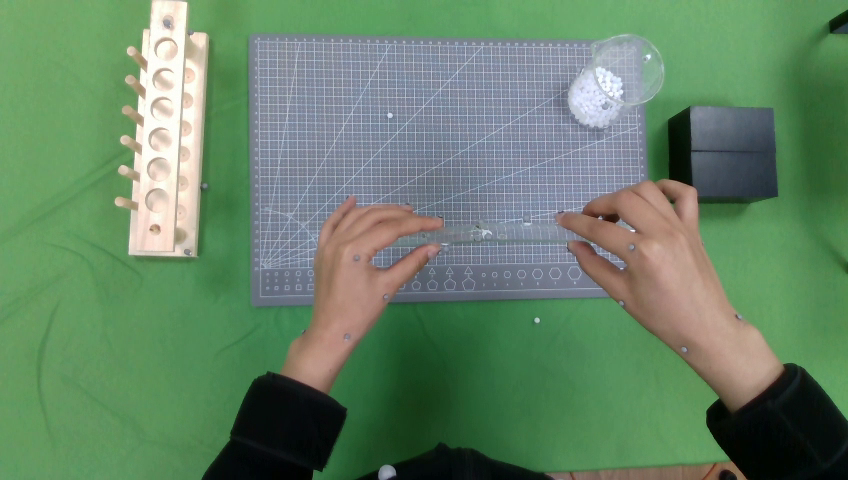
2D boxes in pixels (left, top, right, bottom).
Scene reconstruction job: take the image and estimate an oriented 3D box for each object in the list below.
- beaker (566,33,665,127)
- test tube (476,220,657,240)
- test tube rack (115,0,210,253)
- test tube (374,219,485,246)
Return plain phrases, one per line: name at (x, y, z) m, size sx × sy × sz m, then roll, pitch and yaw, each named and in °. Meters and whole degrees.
beaker at (0.199, -0.170, 0.656) m, size 0.084 × 0.100 × 0.074 m, roll 36°, pitch 83°, yaw -1°
test tube at (0.117, -0.008, 0.492) m, size 0.150 × 0.017 × 0.017 m, roll 0°, pitch 85°, yaw -7°
test tube rack at (-0.267, -0.111, 0.612) m, size 0.067 × 0.085 × 0.242 m, roll 2°, pitch 86°, yaw -6°
test tube at (0.000, -0.005, 0.545) m, size 0.017 × 0.149 × 0.017 m, roll 2°, pitch 86°, yaw -38°
